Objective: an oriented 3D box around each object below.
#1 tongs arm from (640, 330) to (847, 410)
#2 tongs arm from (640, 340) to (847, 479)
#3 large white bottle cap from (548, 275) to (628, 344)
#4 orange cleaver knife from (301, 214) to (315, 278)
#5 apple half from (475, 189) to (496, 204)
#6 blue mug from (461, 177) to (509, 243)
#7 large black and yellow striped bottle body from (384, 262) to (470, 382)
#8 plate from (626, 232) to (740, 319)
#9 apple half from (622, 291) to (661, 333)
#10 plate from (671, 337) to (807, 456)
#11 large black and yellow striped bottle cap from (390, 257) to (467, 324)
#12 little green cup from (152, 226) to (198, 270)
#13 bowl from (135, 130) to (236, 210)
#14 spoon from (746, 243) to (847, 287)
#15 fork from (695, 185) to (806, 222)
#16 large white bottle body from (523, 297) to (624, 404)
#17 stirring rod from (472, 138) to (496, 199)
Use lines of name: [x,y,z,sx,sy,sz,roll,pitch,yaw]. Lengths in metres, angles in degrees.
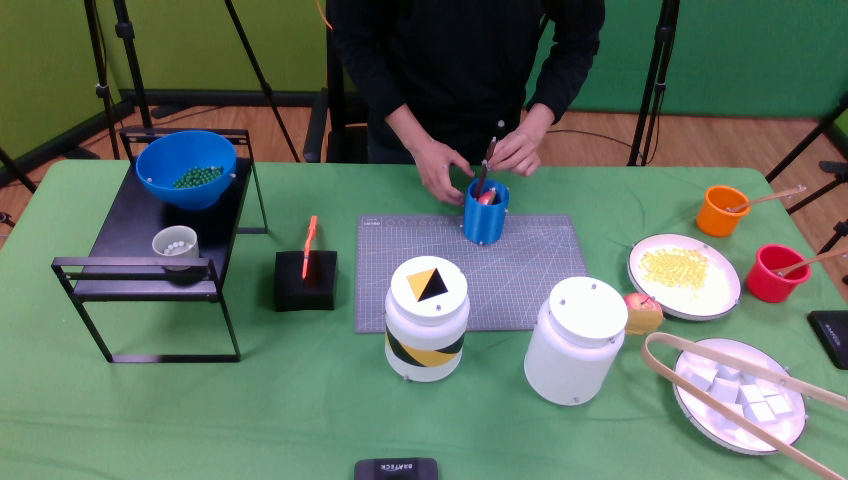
tongs arm: [0.543,0.225,0.969,0.384,0.026,0.050,22,52,13]
tongs arm: [0.500,0.277,0.919,0.386,0.028,0.028,34,59,22]
large white bottle cap: [0.240,0.100,0.890,0.115,0.018,0.114,3,47,-3]
orange cleaver knife: [-0.218,0.007,1.131,0.012,0.077,0.210,7,19,-9]
apple half: [0.110,-0.067,1.195,0.033,0.081,0.081,27,50,8]
blue mug: [0.114,-0.070,1.211,0.082,0.106,0.115,-12,48,-15]
large black and yellow striped bottle body: [0.002,0.127,0.962,0.131,0.185,0.130,2,48,-2]
plate: [0.488,0.071,1.157,0.209,0.038,0.208,3,46,-3]
apple half: [0.372,0.123,1.074,0.081,0.075,0.053,0,42,1]
plate: [0.503,0.254,0.984,0.208,0.039,0.206,2,46,-2]
large black and yellow striped bottle cap: [0.007,0.072,0.898,0.115,0.019,0.114,2,47,-2]
little green cup: [-0.364,0.013,0.894,0.061,0.039,0.061,3,46,-3]
bowl: [-0.375,-0.102,0.978,0.151,0.077,0.150,2,46,-2]
spoon: [0.702,0.043,1.126,0.194,0.022,0.041,-29,38,30]
fork: [0.658,-0.074,1.229,0.207,0.019,0.028,-23,34,37]
large white bottle body: [0.235,0.159,0.952,0.131,0.185,0.130,2,47,-2]
stirring rod: [0.109,-0.126,1.151,0.014,0.177,0.006,-26,61,-29]
